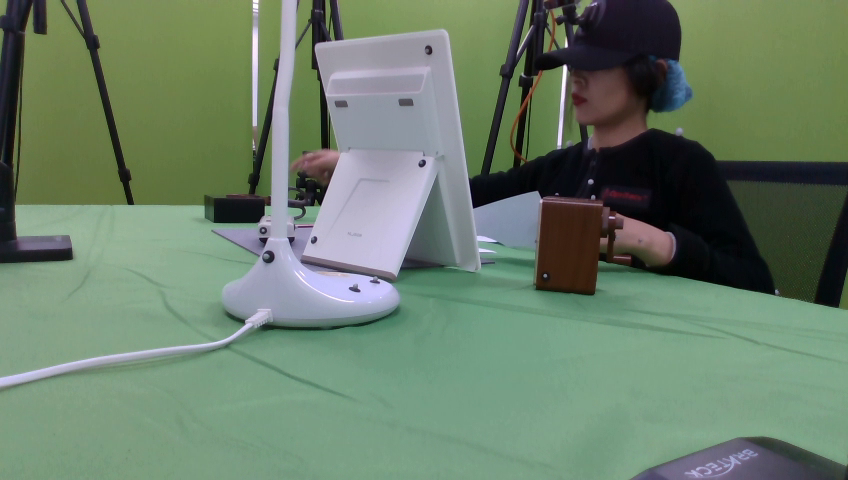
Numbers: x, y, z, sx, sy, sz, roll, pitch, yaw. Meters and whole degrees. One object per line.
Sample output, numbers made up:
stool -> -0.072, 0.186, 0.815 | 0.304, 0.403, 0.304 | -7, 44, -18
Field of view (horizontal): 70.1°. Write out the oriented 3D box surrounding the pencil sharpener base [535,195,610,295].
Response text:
pencil sharpener base -> 0.172, 0.005, 0.695 | 0.076, 0.107, 0.061 | 5, 7, 16

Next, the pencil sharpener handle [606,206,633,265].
pencil sharpener handle -> 0.223, -0.004, 0.683 | 0.030, 0.068, 0.036 | 5, 21, 17

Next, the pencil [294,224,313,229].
pencil -> -0.221, -0.028, 1.211 | 0.195, 0.012, 0.012 | -5, 10, -34

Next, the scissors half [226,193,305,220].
scissors half -> -0.341, -0.077, 1.309 | 0.176, 0.040, 0.012 | 17, 11, -33

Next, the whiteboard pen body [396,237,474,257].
whiteboard pen body -> 0.014, 0.012, 0.886 | 0.140, 0.017, 0.017 | 9, 10, 38

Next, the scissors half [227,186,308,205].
scissors half -> -0.336, -0.096, 1.305 | 0.176, 0.040, 0.013 | -2, 16, -30

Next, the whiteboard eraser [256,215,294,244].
whiteboard eraser -> -0.232, -0.016, 0.951 | 0.056, 0.042, 0.112 | 2, 7, -12

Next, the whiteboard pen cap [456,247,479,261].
whiteboard pen cap -> 0.060, 0.020, 0.851 | 0.033, 0.018, 0.018 | 10, 11, 37

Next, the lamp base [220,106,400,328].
lamp base -> -0.101, -0.023, 0.531 | 0.160, 0.180, 0.179 | 4, 10, 10

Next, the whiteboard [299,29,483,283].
whiteboard -> -0.074, -0.082, 0.742 | 0.216, 0.305, 0.144 | 9, 30, 38
